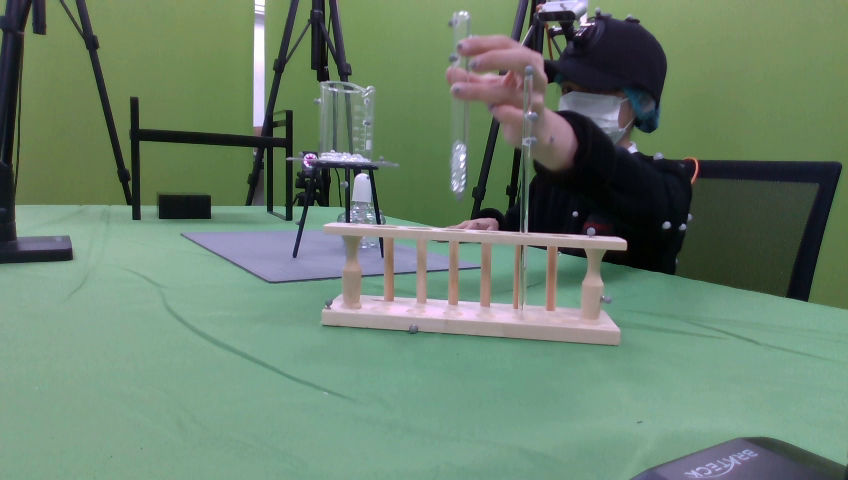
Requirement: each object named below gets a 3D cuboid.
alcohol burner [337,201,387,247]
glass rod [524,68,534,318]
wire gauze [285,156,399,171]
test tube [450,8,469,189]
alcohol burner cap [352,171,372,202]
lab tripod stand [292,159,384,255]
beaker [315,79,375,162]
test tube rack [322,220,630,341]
[{"bbox_3d":[-0.098,-0.049,0.954,0.078,0.119,0.078,0,6,0],"label":"alcohol burner"},{"bbox_3d":[0.083,-0.031,0.473,0.008,0.199,0.008,-3,14,1],"label":"glass rod"},{"bbox_3d":[-0.102,-0.103,0.787,0.121,0.011,0.125,5,4,6],"label":"wire gauze"},{"bbox_3d":[0.030,-0.119,0.512,0.017,0.150,0.017,0,5,0],"label":"test tube"},{"bbox_3d":[-0.096,-0.084,0.951,0.034,0.048,0.034,5,5,0],"label":"alcohol burner cap"},{"bbox_3d":[-0.105,-0.039,0.797,0.148,0.131,0.148,2,5,0],"label":"lab tripod stand"},{"bbox_3d":[-0.100,-0.151,0.778,0.074,0.100,0.083,-3,8,-38],"label":"beaker"},{"bbox_3d":[0.041,0.029,0.511,0.242,0.085,0.067,3,7,5],"label":"test tube rack"}]
